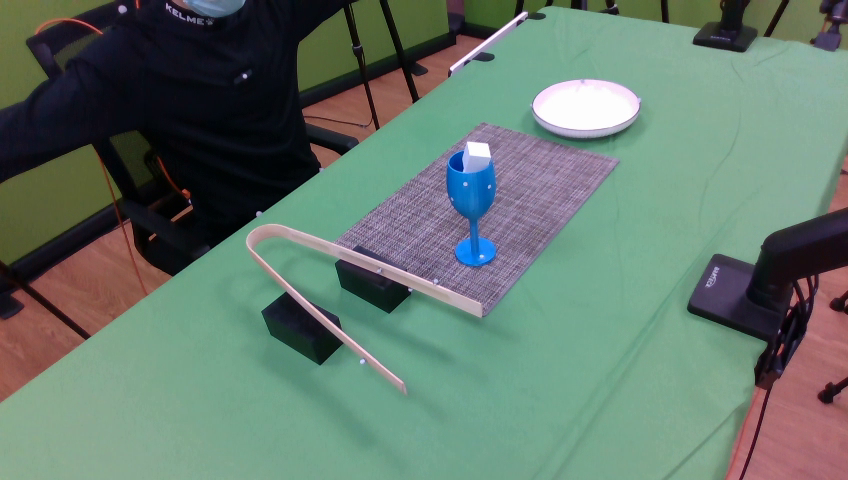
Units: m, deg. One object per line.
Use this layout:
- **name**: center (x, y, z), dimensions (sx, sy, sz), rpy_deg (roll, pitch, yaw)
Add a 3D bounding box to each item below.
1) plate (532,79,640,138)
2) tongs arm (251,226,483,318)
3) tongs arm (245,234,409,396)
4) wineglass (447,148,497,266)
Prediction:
- **plate**: center (0.322, -0.259, 1.212), dimensions (0.209, 0.038, 0.208), rpy_deg (-4, 40, 4)
- **tongs arm**: center (-0.094, 0.045, 0.854), dimensions (0.382, 0.026, 0.051), rpy_deg (21, 50, 29)
- **tongs arm**: center (-0.145, 0.089, 0.810), dimensions (0.028, 0.028, 0.384), rpy_deg (-38, 49, -23)
- **wineglass**: center (0.073, -0.046, 0.889), dimensions (0.074, 0.173, 0.073), rpy_deg (-4, 41, 4)
